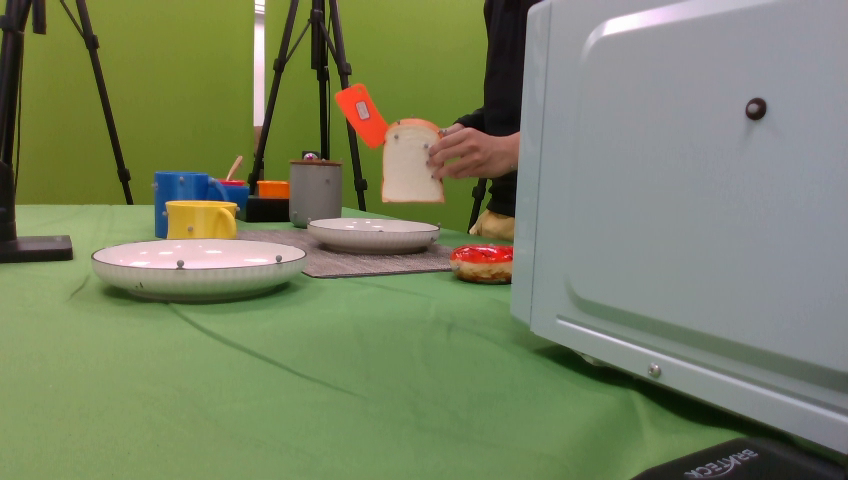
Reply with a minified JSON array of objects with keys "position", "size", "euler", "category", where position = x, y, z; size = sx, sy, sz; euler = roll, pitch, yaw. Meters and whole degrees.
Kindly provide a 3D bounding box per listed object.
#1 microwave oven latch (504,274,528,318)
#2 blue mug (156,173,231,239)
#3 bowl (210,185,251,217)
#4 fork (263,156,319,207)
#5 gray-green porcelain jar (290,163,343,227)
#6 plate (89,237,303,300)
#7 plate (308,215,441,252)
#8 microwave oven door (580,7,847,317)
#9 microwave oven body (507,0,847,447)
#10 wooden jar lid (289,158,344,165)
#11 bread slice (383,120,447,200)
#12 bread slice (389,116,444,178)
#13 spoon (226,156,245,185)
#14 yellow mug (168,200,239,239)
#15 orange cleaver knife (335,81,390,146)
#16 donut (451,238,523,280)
[{"position":[0.100,0.041,0.471],"size":[0.079,0.029,0.030],"euler":[-1,8,-28],"category":"microwave oven latch"},{"position":[-0.381,-0.057,1.004],"size":[0.117,0.106,0.082],"euler":[0,8,-12],"category":"blue mug"},{"position":[-0.408,-0.064,1.155],"size":[0.151,0.077,0.151],"euler":[2,8,0],"category":"bowl"},{"position":[-0.331,-0.144,1.505],"size":[0.207,0.018,0.028],"euler":[-42,-20,22],"category":"fork"},{"position":[-0.217,-0.091,1.221],"size":[0.106,0.126,0.106],"euler":[2,7,0],"category":"gray-green porcelain jar"},{"position":[-0.233,0.029,0.637],"size":[0.208,0.039,0.207],"euler":[2,7,0],"category":"plate"},{"position":[-0.078,-0.012,0.954],"size":[0.209,0.038,0.209],"euler":[2,8,0],"category":"plate"},{"position":[0.294,-0.067,0.570],"size":[0.358,0.243,0.039],"euler":[-3,9,-31],"category":"microwave oven door"},{"position":[0.331,-0.042,0.425],"size":[0.444,0.260,0.324],"euler":[-2,8,-31],"category":"microwave oven body"},{"position":[-0.215,-0.153,1.212],"size":[0.108,0.020,0.108],"euler":[1,5,0],"category":"wooden jar lid"},{"position":[-0.019,-0.131,1.004],"size":[0.107,0.134,0.018],"euler":[-3,20,4],"category":"bread slice"},{"position":[-0.014,-0.149,1.051],"size":[0.105,0.131,0.019],"euler":[2,15,1],"category":"bread slice"},{"position":[-0.477,-0.145,1.492],"size":[0.041,0.022,0.193],"euler":[0,51,12],"category":"spoon"},{"position":[-0.320,-0.023,0.904],"size":[0.130,0.064,0.100],"euler":[9,11,36],"category":"yellow mug"},{"position":[-0.094,-0.230,1.229],"size":[0.077,0.212,0.012],"euler":[-49,21,-20],"category":"orange cleaver knife"},{"position":[0.083,0.022,0.745],"size":[0.099,0.048,0.099],"euler":[1,5,0],"category":"donut"}]
